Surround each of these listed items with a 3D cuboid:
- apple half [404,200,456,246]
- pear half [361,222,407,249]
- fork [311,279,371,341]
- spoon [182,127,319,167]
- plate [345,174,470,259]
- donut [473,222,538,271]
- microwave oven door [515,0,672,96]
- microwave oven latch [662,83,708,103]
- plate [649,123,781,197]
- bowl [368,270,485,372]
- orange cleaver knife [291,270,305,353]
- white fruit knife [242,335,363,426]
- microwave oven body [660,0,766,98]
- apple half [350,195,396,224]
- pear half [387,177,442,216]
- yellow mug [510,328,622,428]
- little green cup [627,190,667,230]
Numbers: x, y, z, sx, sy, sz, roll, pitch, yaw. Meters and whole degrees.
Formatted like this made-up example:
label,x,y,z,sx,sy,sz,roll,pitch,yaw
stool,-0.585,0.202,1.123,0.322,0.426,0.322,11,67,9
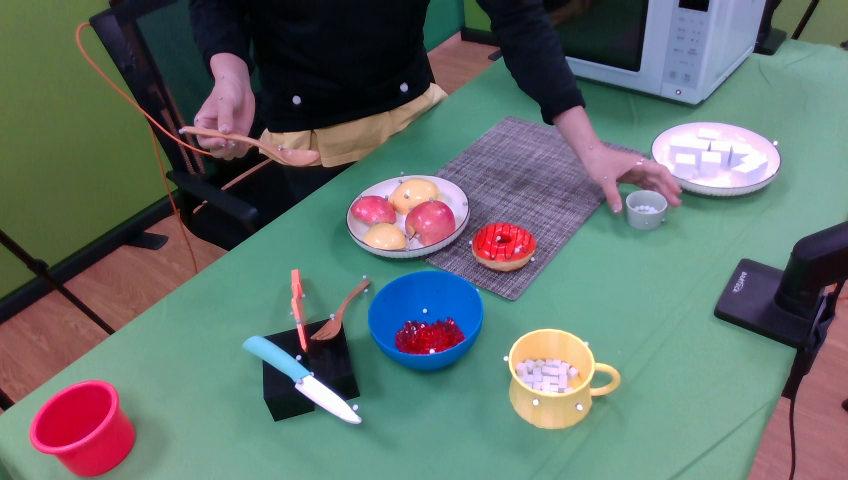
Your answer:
label,x,y,z,sx,sy,sz,roll,pitch,yaw
apple half,0.010,-0.035,0.969,0.075,0.053,0.080,-27,40,-22
pear half,-0.063,-0.012,0.958,0.071,0.031,0.087,3,24,-25
fork,-0.108,0.092,0.832,0.028,0.019,0.207,-7,19,15
spoon,-0.243,-0.134,0.847,0.194,0.021,0.041,16,42,-2
plate,-0.026,-0.036,1.004,0.209,0.038,0.208,-4,40,4
donut,0.124,0.009,0.923,0.099,0.048,0.098,-3,38,3
microwave oven door,0.344,-0.455,1.259,0.353,0.245,0.039,26,51,33
microwave oven latch,0.518,-0.296,1.204,0.078,0.029,0.030,27,52,35
plate,0.497,-0.135,1.046,0.207,0.039,0.206,-4,40,4
bowl,0.007,0.118,0.791,0.151,0.077,0.150,-5,40,4
orange cleaver knife,-0.175,0.094,0.844,0.012,0.077,0.210,-11,14,-10
white fruit knife,-0.148,0.167,0.730,0.206,0.016,0.027,26,79,31
microwave oven body,0.472,-0.513,1.317,0.438,0.261,0.327,26,51,34
apple half,-0.080,-0.056,1.008,0.081,0.033,0.081,11,24,-4
pear half,-0.029,-0.079,1.033,0.109,0.056,0.076,-4,35,17
yellow mug,0.169,0.164,0.722,0.130,0.064,0.099,0,40,8
little green cup,0.352,-0.046,0.963,0.061,0.039,0.061,-3,41,3
